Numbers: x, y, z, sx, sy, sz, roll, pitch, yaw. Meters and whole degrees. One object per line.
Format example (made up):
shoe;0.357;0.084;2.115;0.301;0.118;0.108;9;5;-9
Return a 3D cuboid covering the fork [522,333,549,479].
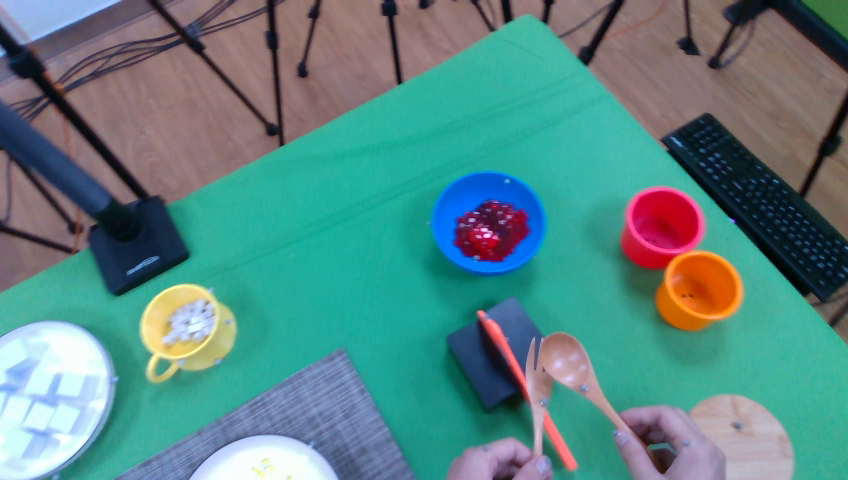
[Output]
fork;0.100;0.184;0.558;0.028;0.019;0.205;15;59;-10

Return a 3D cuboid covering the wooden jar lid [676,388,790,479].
wooden jar lid;0.311;0.207;0.616;0.108;0.021;0.107;-2;66;5

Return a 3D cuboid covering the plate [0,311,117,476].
plate;-0.496;0.195;0.783;0.207;0.039;0.206;-1;66;3

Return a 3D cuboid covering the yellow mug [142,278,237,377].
yellow mug;-0.314;0.120;0.791;0.099;0.064;0.130;25;70;14

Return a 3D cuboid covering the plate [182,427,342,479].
plate;-0.190;0.326;0.704;0.209;0.038;0.207;-1;66;2

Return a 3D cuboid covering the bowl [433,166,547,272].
bowl;0.088;-0.017;0.825;0.151;0.077;0.150;-1;66;3

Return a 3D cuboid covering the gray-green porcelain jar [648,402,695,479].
gray-green porcelain jar;0.314;0.234;0.675;0.106;0.127;0.105;-1;65;3

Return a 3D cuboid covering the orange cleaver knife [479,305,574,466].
orange cleaver knife;0.122;0.174;0.735;0.012;0.077;0.211;-29;91;-4

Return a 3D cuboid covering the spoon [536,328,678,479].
spoon;0.172;0.160;0.554;0.041;0.022;0.193;-39;79;-7
